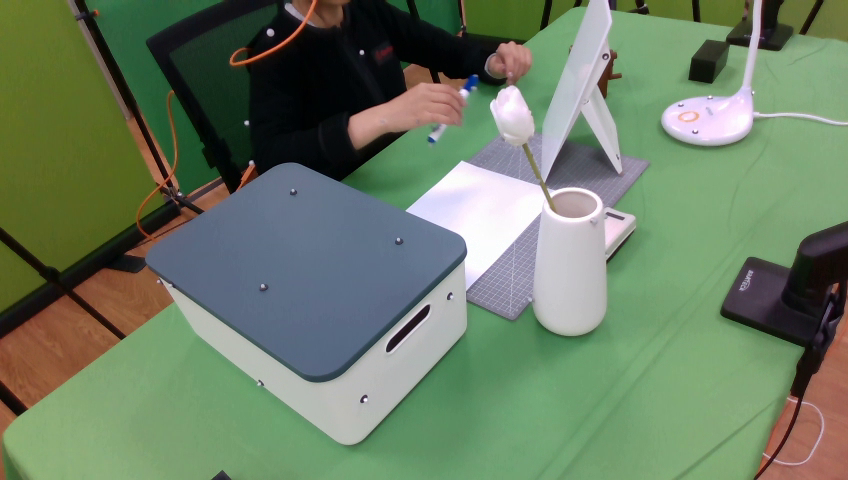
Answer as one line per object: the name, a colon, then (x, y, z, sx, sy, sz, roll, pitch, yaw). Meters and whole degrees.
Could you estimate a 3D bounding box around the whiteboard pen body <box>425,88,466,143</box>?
whiteboard pen body: (0.044, -0.232, 1.077, 0.017, 0.017, 0.141, 26, 77, 34)

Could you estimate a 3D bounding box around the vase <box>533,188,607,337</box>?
vase: (0.187, 0.033, 0.771, 0.098, 0.201, 0.097, -6, 41, 6)

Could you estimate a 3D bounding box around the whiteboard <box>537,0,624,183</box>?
whiteboard: (0.316, -0.256, 1.047, 0.144, 0.306, 0.216, 15, 42, -1)

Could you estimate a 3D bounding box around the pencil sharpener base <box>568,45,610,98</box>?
pencil sharpener base: (0.345, -0.352, 1.263, 0.077, 0.107, 0.061, -9, 40, 1)

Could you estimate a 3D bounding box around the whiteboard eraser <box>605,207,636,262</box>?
whiteboard eraser: (0.272, -0.003, 0.919, 0.055, 0.042, 0.113, 27, 51, 32)

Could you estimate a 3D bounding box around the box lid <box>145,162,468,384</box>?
box lid: (-0.157, 0.014, 0.769, 0.368, 0.015, 0.264, 25, 51, 33)

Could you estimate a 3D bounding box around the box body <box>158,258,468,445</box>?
box body: (-0.147, 0.072, 0.816, 0.361, 0.161, 0.255, 24, 50, 33)

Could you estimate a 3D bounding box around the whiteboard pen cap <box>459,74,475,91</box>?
whiteboard pen cap: (0.077, -0.281, 1.086, 0.018, 0.018, 0.033, 26, 78, 34)

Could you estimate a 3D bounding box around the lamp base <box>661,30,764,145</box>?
lamp base: (0.535, -0.287, 1.096, 0.179, 0.181, 0.159, -10, 40, -4)

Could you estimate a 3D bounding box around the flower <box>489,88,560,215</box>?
flower: (0.158, -0.027, 0.720, 0.038, 0.364, 0.044, -14, 44, 23)

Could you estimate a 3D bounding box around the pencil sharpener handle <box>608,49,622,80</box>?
pencil sharpener handle: (0.394, -0.368, 1.253, 0.030, 0.068, 0.036, -9, 32, 1)
